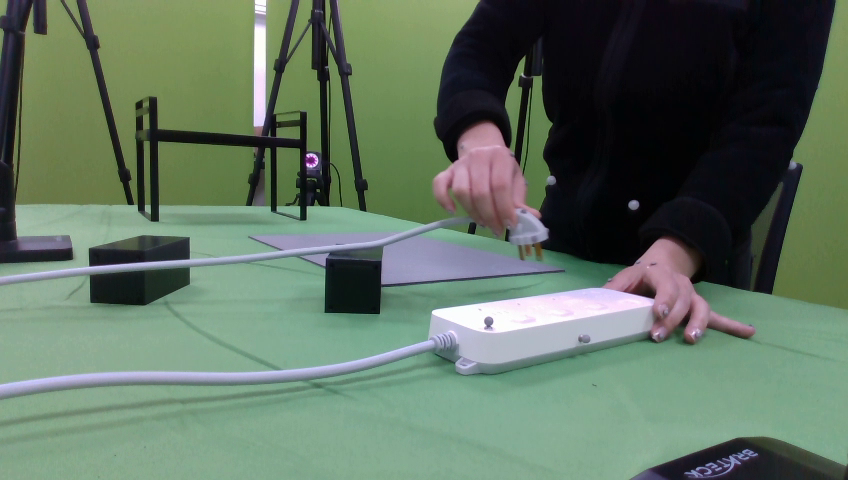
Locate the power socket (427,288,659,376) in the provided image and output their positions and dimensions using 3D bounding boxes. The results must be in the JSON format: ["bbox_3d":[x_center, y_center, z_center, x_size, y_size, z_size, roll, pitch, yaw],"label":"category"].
[{"bbox_3d":[0.101,0.066,0.481,0.228,0.032,0.072,-4,9,-37],"label":"power socket"}]

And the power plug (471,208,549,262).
[{"bbox_3d":[0.086,-0.005,0.578,0.035,0.052,0.072,-21,14,-39],"label":"power plug"}]
